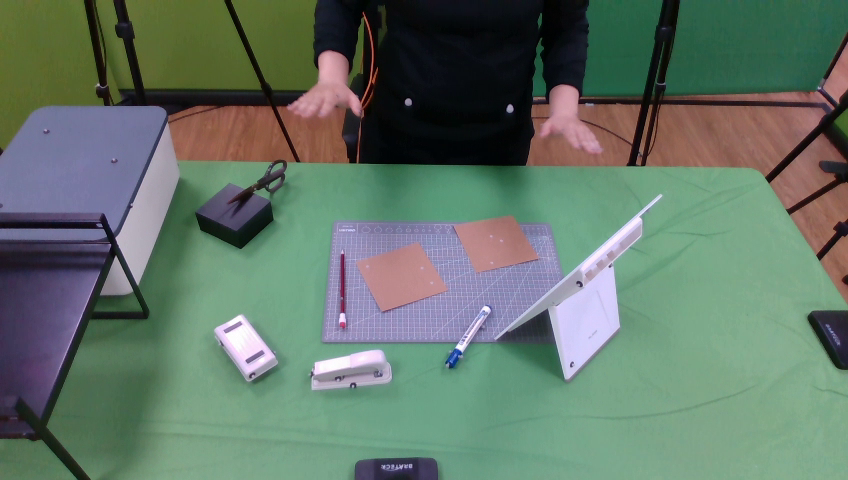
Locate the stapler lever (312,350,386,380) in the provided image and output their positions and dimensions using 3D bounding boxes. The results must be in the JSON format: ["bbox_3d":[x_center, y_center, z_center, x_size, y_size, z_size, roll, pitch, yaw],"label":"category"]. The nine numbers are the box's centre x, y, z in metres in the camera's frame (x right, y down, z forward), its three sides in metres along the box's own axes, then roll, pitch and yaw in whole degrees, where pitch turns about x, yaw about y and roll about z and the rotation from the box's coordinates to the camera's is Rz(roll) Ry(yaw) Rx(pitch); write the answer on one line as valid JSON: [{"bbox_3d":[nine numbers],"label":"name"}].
[{"bbox_3d":[-0.120,0.198,0.963,0.118,0.040,0.026,-4,44,-8],"label":"stapler lever"}]

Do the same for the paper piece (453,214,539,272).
[{"bbox_3d":[0.142,0.003,1.212,0.135,0.004,0.135,-11,48,-14],"label":"paper piece"}]

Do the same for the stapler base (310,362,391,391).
[{"bbox_3d":[-0.119,0.215,0.981,0.131,0.024,0.041,-5,44,-7],"label":"stapler base"}]

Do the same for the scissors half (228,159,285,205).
[{"bbox_3d":[-0.335,-0.117,1.217,0.013,0.040,0.175,27,46,12],"label":"scissors half"}]

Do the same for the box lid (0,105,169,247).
[{"bbox_3d":[-0.624,-0.125,1.067,0.263,0.015,0.369,0,46,-3],"label":"box lid"}]

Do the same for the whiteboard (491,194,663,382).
[{"bbox_3d":[0.280,0.100,0.969,0.217,0.306,0.143,-33,77,-31],"label":"whiteboard"}]

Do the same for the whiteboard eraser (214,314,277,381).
[{"bbox_3d":[-0.292,0.176,0.990,0.055,0.042,0.112,-30,55,-31],"label":"whiteboard eraser"}]

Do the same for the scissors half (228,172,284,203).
[{"bbox_3d":[-0.339,-0.101,1.230,0.013,0.040,0.175,23,28,15],"label":"scissors half"}]

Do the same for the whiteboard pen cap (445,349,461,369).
[{"bbox_3d":[0.049,0.197,1.011,0.018,0.018,0.033,24,49,17],"label":"whiteboard pen cap"}]

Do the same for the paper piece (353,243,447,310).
[{"bbox_3d":[-0.045,0.066,1.137,0.136,0.009,0.137,-13,47,-22],"label":"paper piece"}]

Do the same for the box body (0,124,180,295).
[{"bbox_3d":[-0.628,-0.075,1.122,0.254,0.161,0.361,1,46,-4],"label":"box body"}]

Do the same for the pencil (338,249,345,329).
[{"bbox_3d":[-0.152,0.085,1.108,0.012,0.012,0.192,-2,44,-7],"label":"pencil"}]

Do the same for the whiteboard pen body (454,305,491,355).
[{"bbox_3d":[0.079,0.163,1.047,0.017,0.017,0.140,25,50,19],"label":"whiteboard pen body"}]
